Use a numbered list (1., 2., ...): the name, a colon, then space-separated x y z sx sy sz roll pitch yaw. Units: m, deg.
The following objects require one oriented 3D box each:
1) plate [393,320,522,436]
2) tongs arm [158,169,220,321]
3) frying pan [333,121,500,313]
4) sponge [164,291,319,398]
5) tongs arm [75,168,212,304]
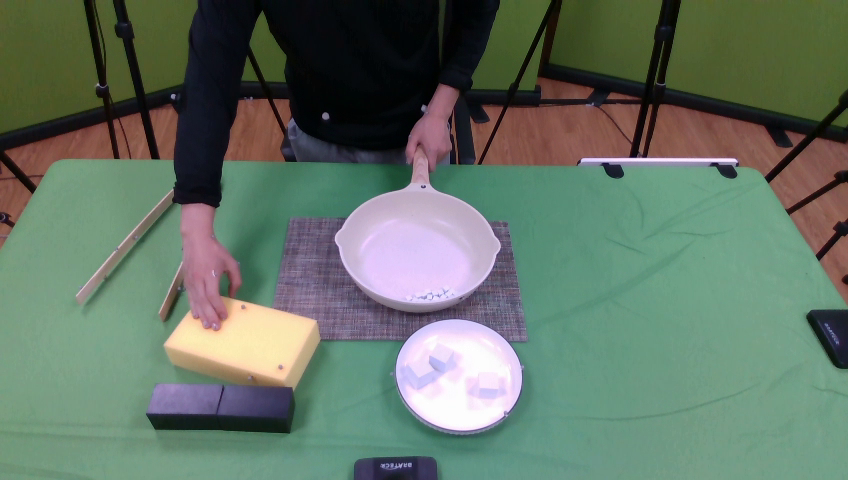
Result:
1. plate: 0.053 0.223 0.978 0.208 0.039 0.206 2 46 -2
2. tongs arm: -0.446 -0.005 1.164 0.028 0.028 0.385 1 46 0
3. frying pan: -0.011 -0.063 1.195 0.307 0.103 0.485 4 55 -2
4. sponge: -0.292 0.168 0.986 0.206 0.061 0.117 13 49 9
5. tongs arm: -0.525 -0.020 1.167 0.051 0.026 0.383 13 45 7
